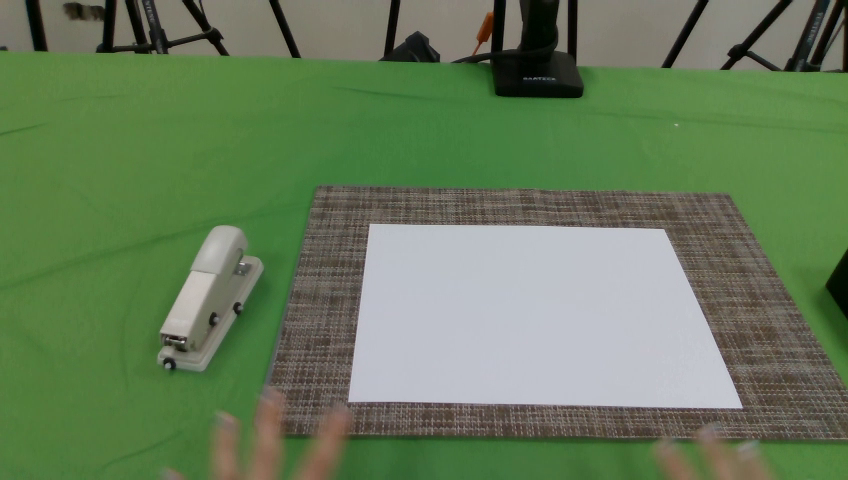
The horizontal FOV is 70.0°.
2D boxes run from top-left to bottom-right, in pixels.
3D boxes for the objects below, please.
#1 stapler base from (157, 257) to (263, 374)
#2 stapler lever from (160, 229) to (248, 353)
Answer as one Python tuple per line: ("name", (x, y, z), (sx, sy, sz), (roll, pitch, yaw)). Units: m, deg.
("stapler base", (-0.181, 0.054, 0.518), (0.041, 0.024, 0.129), (8, 43, 8))
("stapler lever", (-0.180, 0.037, 0.500), (0.027, 0.040, 0.117), (7, 42, 9))
